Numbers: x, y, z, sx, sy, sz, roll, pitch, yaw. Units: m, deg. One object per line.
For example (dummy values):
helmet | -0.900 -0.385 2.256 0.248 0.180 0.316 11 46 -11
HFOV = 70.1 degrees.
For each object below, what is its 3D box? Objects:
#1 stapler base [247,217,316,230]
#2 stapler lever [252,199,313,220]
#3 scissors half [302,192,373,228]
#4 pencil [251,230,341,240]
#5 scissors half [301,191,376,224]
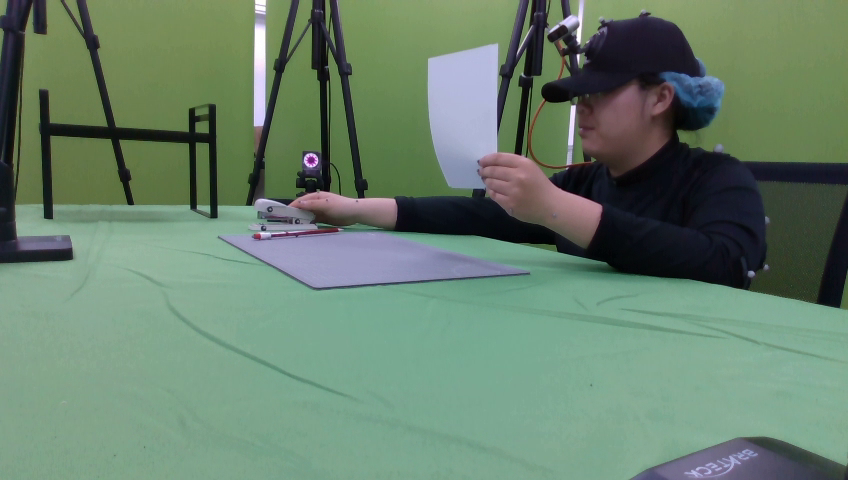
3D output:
stapler base | -0.275 -0.033 1.172 0.131 0.024 0.041 -1 9 -36
stapler lever | -0.273 -0.058 1.170 0.119 0.040 0.026 -1 9 -36
scissors half | -0.191 -0.068 1.314 0.175 0.013 0.040 26 17 7
pencil | -0.215 -0.011 1.049 0.012 0.012 0.195 9 9 39
scissors half | -0.189 -0.073 1.334 0.175 0.013 0.040 22 12 -10
